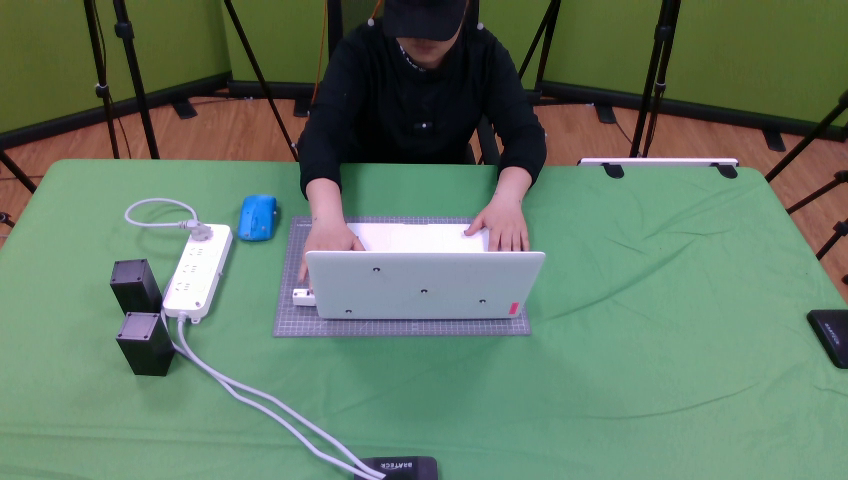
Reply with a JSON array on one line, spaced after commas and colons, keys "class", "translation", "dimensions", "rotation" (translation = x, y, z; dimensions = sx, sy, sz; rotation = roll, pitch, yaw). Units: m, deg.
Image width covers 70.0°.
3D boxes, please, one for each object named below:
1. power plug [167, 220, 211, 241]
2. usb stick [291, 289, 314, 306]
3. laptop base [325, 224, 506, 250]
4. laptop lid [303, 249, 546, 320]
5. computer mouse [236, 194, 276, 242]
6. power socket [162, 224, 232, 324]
[{"class": "power plug", "translation": [-0.438, -0.017, 1.143], "dimensions": [0.072, 0.053, 0.035], "rotation": [10, 43, 7]}, {"class": "usb stick", "translation": [-0.203, 0.101, 1.067], "dimensions": [0.059, 0.027, 0.021], "rotation": [4, 44, -6]}, {"class": "laptop base", "translation": [-0.013, 0.054, 1.143], "dimensions": [0.355, 0.023, 0.234], "rotation": [1, 42, -4]}, {"class": "laptop lid", "translation": [-0.003, 0.077, 0.962], "dimensions": [0.357, 0.242, 0.013], "rotation": [1, 58, -5]}, {"class": "computer mouse", "translation": [-0.334, -0.047, 1.206], "dimensions": [0.063, 0.041, 0.116], "rotation": [3, 51, -5]}, {"class": "power socket", "translation": [-0.411, 0.052, 1.106], "dimensions": [0.072, 0.033, 0.225], "rotation": [4, 45, -1]}]
